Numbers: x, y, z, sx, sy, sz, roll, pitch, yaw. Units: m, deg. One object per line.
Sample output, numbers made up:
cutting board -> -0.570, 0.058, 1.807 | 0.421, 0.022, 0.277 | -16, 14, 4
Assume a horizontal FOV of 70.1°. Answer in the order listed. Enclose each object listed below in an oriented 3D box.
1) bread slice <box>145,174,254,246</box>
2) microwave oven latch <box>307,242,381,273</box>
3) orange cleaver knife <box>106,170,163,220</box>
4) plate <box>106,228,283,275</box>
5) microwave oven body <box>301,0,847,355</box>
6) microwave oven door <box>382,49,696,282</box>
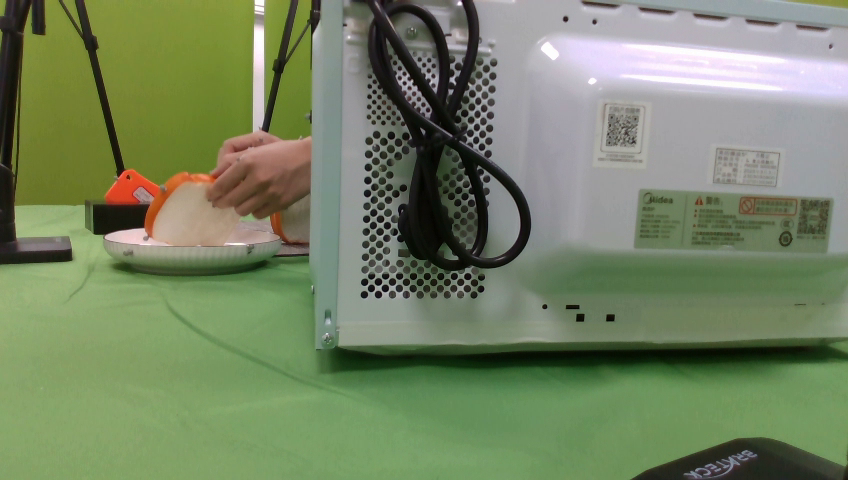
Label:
bread slice -> -0.285, -0.034, 0.770 | 0.018, 0.107, 0.135 | 38, 8, 24
microwave oven latch -> -0.086, 0.019, 0.656 | 0.079, 0.029, 0.030 | 2, 7, -10
orange cleaver knife -> -0.458, -0.060, 1.097 | 0.212, 0.077, 0.012 | 23, -4, -38
plate -> -0.288, 0.013, 0.772 | 0.208, 0.039, 0.207 | 2, 7, 0
microwave oven body -> 0.120, -0.053, 0.535 | 0.443, 0.260, 0.325 | 2, 7, -11
microwave oven door -> 0.135, -0.077, 0.685 | 0.357, 0.243, 0.039 | 1, 8, -12
